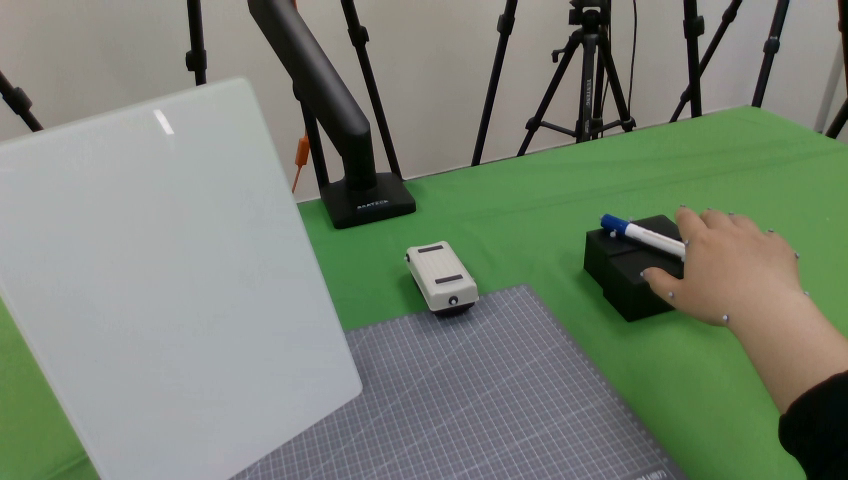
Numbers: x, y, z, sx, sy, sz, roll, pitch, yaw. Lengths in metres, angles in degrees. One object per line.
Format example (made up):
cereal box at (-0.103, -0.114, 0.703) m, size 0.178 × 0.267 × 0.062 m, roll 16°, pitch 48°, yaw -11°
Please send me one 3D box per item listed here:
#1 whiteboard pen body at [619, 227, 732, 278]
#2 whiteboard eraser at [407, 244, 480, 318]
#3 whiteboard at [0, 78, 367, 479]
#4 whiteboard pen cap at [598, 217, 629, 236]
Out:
whiteboard pen body at (0.259, 0.008, 0.650) m, size 0.017 × 0.017 × 0.139 m, roll -30°, pitch 40°, yaw -34°
whiteboard eraser at (0.019, 0.046, 0.687) m, size 0.056 × 0.042 × 0.111 m, roll -14°, pitch 30°, yaw -11°
whiteboard at (-0.216, 0.046, 0.524) m, size 0.217 × 0.307 × 0.143 m, roll -27°, pitch 20°, yaw -30°
whiteboard pen cap at (0.215, -0.015, 0.688) m, size 0.033 × 0.018 × 0.018 m, roll -15°, pitch 30°, yaw 17°
